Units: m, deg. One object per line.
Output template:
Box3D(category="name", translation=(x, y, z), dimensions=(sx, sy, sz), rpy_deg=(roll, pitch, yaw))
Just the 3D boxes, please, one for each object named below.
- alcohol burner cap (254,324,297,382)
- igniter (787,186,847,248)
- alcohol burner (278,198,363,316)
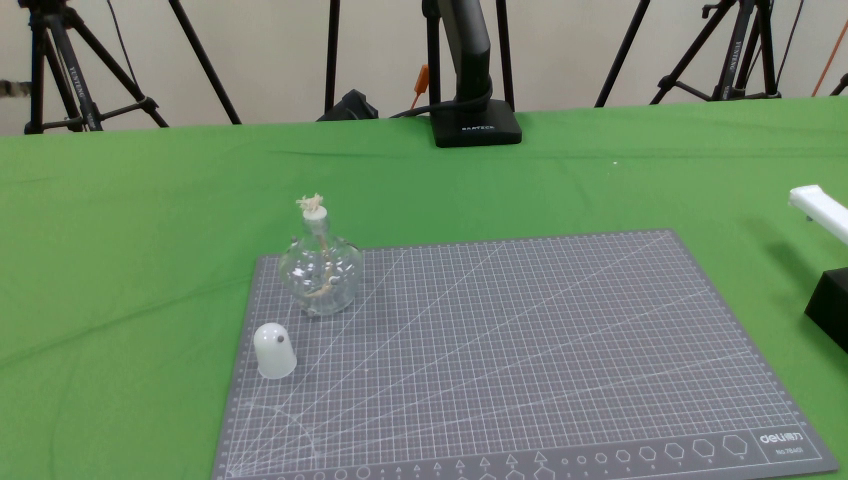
Box3D(category="alcohol burner cap", translation=(-0.125, 0.090, 0.503), dimensions=(0.034, 0.048, 0.033), rpy_deg=(0, 37, 0))
Box3D(category="igniter", translation=(0.412, 0.028, 0.519), dimensions=(0.057, 0.025, 0.273), rpy_deg=(-11, 35, -3))
Box3D(category="alcohol burner", translation=(-0.095, 0.011, 0.548), dimensions=(0.078, 0.120, 0.077), rpy_deg=(1, 39, 0))
